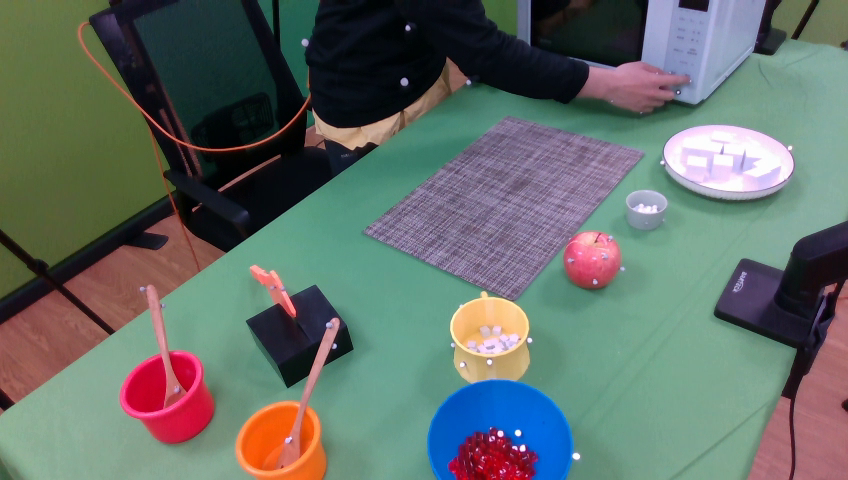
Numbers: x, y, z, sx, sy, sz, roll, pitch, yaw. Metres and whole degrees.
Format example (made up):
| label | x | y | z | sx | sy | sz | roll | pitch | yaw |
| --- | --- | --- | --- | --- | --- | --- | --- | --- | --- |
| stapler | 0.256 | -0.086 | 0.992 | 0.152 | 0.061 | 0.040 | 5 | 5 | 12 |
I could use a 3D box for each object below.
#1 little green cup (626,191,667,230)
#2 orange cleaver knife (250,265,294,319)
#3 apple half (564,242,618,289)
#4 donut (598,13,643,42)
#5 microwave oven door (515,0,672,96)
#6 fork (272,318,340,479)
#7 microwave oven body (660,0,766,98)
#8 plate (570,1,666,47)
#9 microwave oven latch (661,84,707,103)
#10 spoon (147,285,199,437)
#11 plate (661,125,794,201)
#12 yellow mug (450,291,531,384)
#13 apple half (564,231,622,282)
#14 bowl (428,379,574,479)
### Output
| label | x | y | z | sx | sy | sz | roll | pitch | yaw |
| --- | --- | --- | --- | --- | --- | --- | --- | --- | --- |
| little green cup | 0.352 | -0.046 | 0.963 | 0.061 | 0.039 | 0.061 | -4 | 40 | 4 |
| orange cleaver knife | -0.222 | 0.073 | 0.876 | 0.012 | 0.077 | 0.210 | -24 | 13 | -22 |
| apple half | 0.229 | 0.044 | 0.848 | 0.081 | 0.081 | 0.033 | 16 | 41 | 26 |
| donut | 0.438 | -0.473 | 1.346 | 0.099 | 0.048 | 0.098 | -18 | 21 | 8 |
| microwave oven door | 0.344 | -0.455 | 1.260 | 0.353 | 0.245 | 0.039 | 26 | 51 | 33 |
| fork | -0.132 | 0.186 | 0.676 | 0.028 | 0.019 | 0.207 | 17 | 90 | 28 |
| microwave oven body | 0.472 | -0.513 | 1.317 | 0.438 | 0.261 | 0.327 | 26 | 51 | 34 |
| plate | 0.437 | -0.485 | 1.369 | 0.209 | 0.038 | 0.208 | -4 | 41 | 4 |
| microwave oven latch | 0.516 | -0.296 | 1.204 | 0.078 | 0.029 | 0.030 | 25 | 51 | 33 |
| spoon | -0.318 | 0.148 | 0.754 | 0.042 | 0.021 | 0.193 | -14 | 85 | -11 |
| plate | 0.514 | -0.128 | 1.035 | 0.207 | 0.039 | 0.206 | -4 | 40 | 4 |
| yellow mug | 0.085 | 0.120 | 0.786 | 0.100 | 0.064 | 0.130 | -7 | 39 | 1 |
| apple half | 0.248 | 0.021 | 0.874 | 0.080 | 0.075 | 0.053 | 14 | 40 | 29 |
| bowl | 0.082 | 0.233 | 0.644 | 0.151 | 0.077 | 0.150 | -4 | 40 | 4 |
